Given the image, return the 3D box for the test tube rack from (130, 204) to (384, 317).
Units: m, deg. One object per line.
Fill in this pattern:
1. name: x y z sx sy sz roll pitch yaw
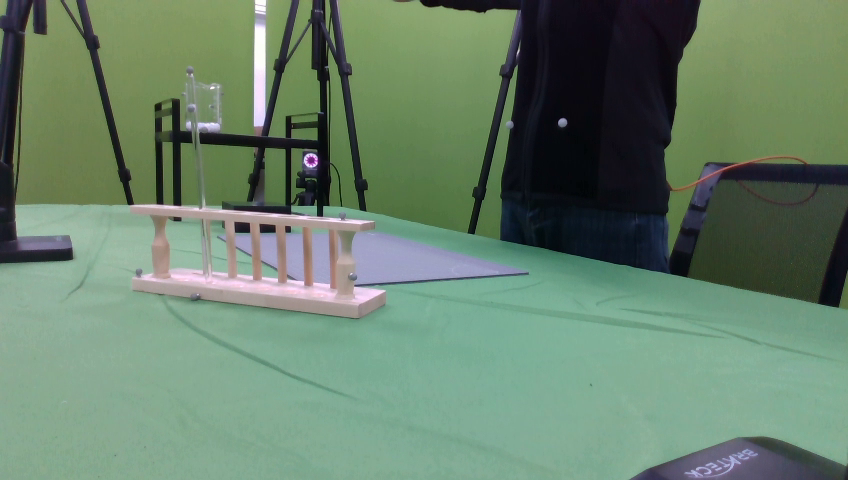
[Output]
1. test tube rack: -0.163 0.013 0.589 0.242 0.085 0.067 5 8 17

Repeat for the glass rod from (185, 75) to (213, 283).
1. glass rod: -0.210 -0.052 0.568 0.008 0.199 0.008 0 14 0

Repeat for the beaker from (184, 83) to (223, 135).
1. beaker: -0.456 -0.271 1.256 0.074 0.100 0.083 -3 10 -33
